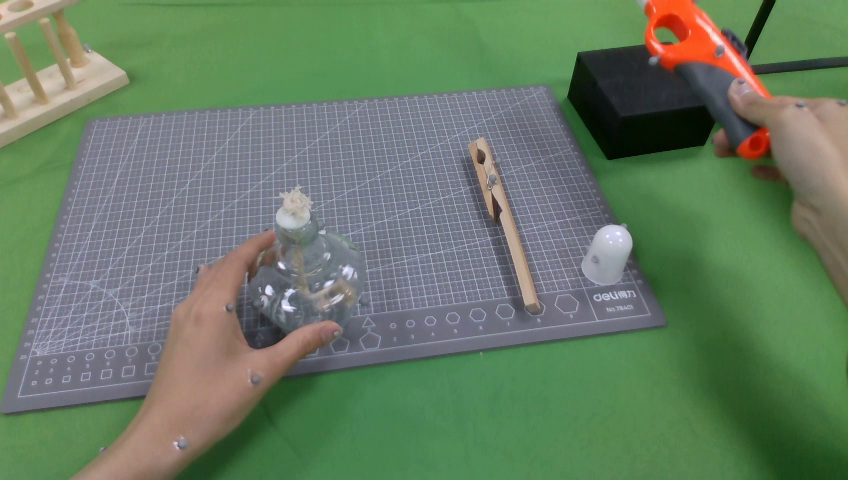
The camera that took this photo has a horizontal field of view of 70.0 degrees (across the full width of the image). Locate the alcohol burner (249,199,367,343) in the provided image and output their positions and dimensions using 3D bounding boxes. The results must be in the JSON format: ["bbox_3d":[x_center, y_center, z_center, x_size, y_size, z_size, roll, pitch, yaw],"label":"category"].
[{"bbox_3d":[-0.078,0.015,0.395,0.078,0.120,0.077,1,51,0],"label":"alcohol burner"}]

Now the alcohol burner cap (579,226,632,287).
[{"bbox_3d":[0.138,0.010,0.454,0.034,0.048,0.033,2,50,-2],"label":"alcohol burner cap"}]

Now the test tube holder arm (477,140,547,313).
[{"bbox_3d":[0.068,-0.018,0.490,0.013,0.015,0.176,-30,49,18],"label":"test tube holder arm"}]

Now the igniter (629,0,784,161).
[{"bbox_3d":[0.188,-0.173,0.470,0.057,0.025,0.274,-23,63,0],"label":"igniter"}]

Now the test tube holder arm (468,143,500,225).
[{"bbox_3d":[0.054,-0.049,0.520,0.010,0.015,0.087,-29,49,19],"label":"test tube holder arm"}]

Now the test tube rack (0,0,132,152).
[{"bbox_3d":[-0.395,-0.130,0.530,0.066,0.086,0.242,33,56,24],"label":"test tube rack"}]
